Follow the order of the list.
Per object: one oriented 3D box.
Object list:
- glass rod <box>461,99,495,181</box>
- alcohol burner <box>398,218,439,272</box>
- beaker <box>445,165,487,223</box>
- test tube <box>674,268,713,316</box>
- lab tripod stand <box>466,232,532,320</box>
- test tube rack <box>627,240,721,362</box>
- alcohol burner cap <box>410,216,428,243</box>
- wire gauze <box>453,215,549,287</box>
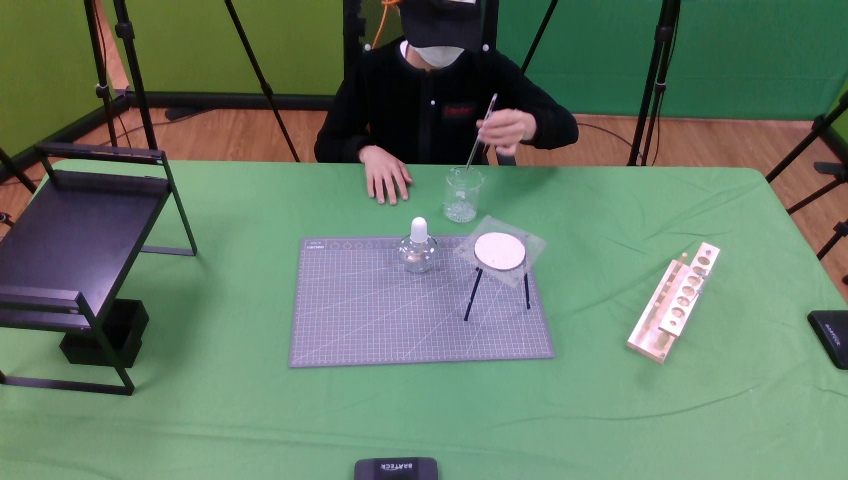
[{"bbox_3d":[0.098,-0.180,1.127,0.008,0.200,0.008,9,49,-10],"label":"glass rod"},{"bbox_3d":[-0.010,0.004,1.123,0.078,0.120,0.077,1,47,0],"label":"alcohol burner"},{"bbox_3d":[0.082,-0.091,1.236,0.084,0.101,0.073,-7,47,-11],"label":"beaker"},{"bbox_3d":[0.445,0.098,1.017,0.017,0.151,0.017,4,48,-4],"label":"test tube"},{"bbox_3d":[0.125,0.059,1.065,0.148,0.132,0.147,1,45,0],"label":"lab tripod stand"},{"bbox_3d":[0.452,0.098,1.087,0.066,0.085,0.242,28,51,22],"label":"test tube rack"},{"bbox_3d":[-0.009,-0.022,1.099,0.034,0.048,0.033,2,41,-1],"label":"alcohol burner cap"},{"bbox_3d":[0.129,0.012,1.017,0.124,0.011,0.121,28,50,23],"label":"wire gauze"}]
